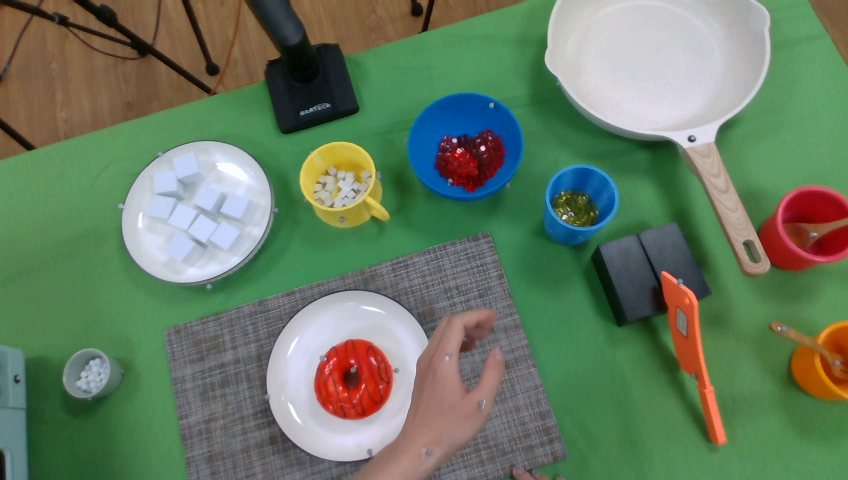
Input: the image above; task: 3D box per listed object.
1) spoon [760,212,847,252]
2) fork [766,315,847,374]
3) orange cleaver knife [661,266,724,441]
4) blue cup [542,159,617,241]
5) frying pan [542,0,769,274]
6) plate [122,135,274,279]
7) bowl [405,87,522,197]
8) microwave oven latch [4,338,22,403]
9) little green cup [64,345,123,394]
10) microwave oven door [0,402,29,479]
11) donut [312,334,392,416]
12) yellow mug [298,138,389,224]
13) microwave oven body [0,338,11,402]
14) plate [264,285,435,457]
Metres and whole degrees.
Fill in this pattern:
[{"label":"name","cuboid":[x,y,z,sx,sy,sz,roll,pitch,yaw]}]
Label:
[{"label":"spoon","cuboid":[0.502,-0.028,0.715,0.193,0.022,0.041,-24,64,43]},{"label":"fork","cuboid":[0.434,0.117,0.672,0.209,0.018,0.028,25,71,-34]},{"label":"orange cleaver knife","cuboid":[0.313,0.133,0.712,0.012,0.077,0.212,-18,101,-1]},{"label":"blue cup","cuboid":[0.188,-0.042,0.764,0.092,0.101,0.092,-1,73,2]},{"label":"frying pan","cuboid":[0.331,-0.177,0.794,0.307,0.103,0.483,-12,64,1]},{"label":"plate","cuboid":[-0.305,-0.044,0.834,0.207,0.039,0.206,-1,73,4]},{"label":"bowl","cuboid":[0.053,-0.118,0.810,0.151,0.077,0.150,-1,73,4]},{"label":"microwave oven latch","cuboid":[-0.528,0.166,0.765,0.030,0.029,0.078,-11,73,0]},{"label":"little green cup","cuboid":[-0.420,0.166,0.776,0.061,0.039,0.061,-1,74,3]},{"label":"microwave oven door","cuboid":[-0.487,0.338,0.603,0.039,0.245,0.353,-14,72,0]},{"label":"donut","cuboid":[-0.088,0.165,0.738,0.099,0.048,0.098,-1,77,4]},{"label":"yellow mug","cuboid":[-0.100,-0.070,0.813,0.130,0.064,0.100,34,78,12]},{"label":"microwave oven body","cuboid":[-0.638,0.335,0.620,0.326,0.262,0.438,-14,73,-1]},{"label":"plate","cuboid":[-0.090,0.160,0.751,0.209,0.038,0.208,-1,73,4]}]
